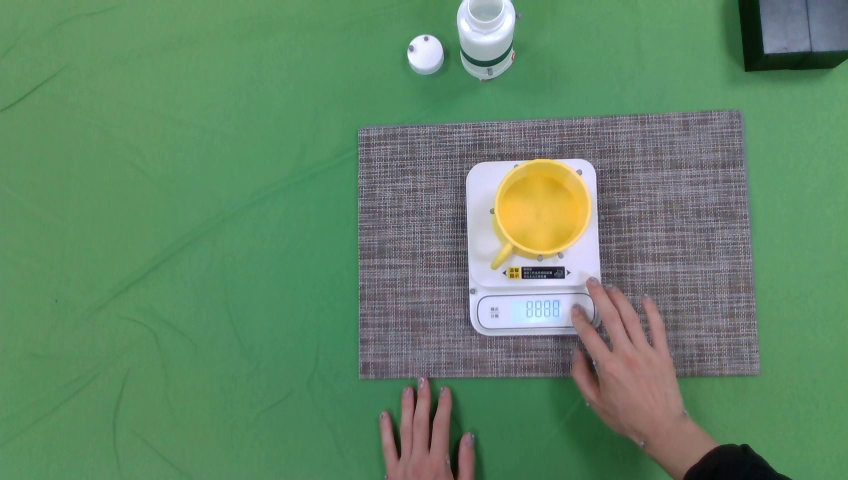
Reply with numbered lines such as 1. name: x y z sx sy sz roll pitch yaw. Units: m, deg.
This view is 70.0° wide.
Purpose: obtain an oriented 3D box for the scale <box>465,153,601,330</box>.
1. scale: 0.123 0.001 0.691 0.148 0.031 0.200 -2 85 5

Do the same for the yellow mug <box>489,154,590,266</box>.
1. yellow mug: 0.112 -0.024 0.647 0.099 0.064 0.131 38 89 7

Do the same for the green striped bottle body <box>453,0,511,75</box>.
1. green striped bottle body: 0.065 -0.238 0.680 0.063 0.119 0.063 -1 83 6

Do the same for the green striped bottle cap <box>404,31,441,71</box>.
1. green striped bottle cap: -0.002 -0.231 0.739 0.044 0.020 0.044 0 90 4
